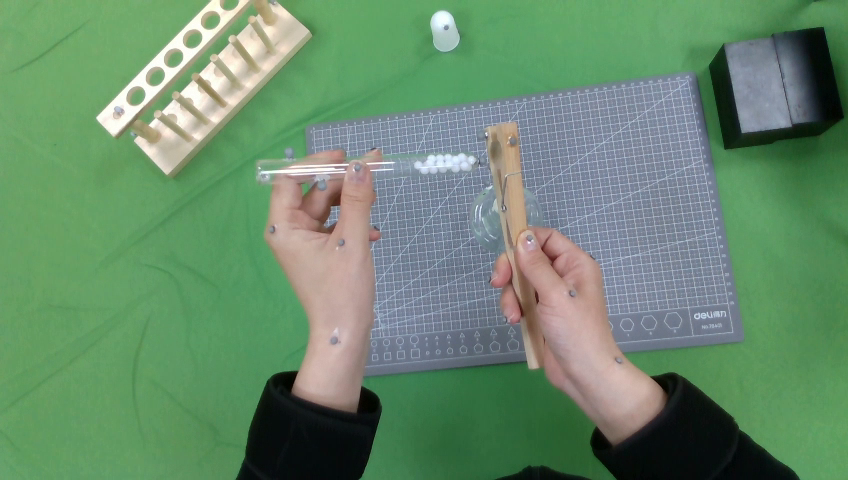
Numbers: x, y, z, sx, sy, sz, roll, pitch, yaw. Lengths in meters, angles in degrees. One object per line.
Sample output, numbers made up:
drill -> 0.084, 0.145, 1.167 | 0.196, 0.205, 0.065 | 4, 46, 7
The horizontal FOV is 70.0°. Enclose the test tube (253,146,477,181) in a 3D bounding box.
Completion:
test tube -> -0.034, -0.051, 0.396 | 0.151, 0.017, 0.017 | -6, 78, -21

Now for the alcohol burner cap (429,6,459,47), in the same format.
alcohol burner cap -> 0.022, -0.250, 0.699 | 0.034, 0.048, 0.033 | -2, 75, 9

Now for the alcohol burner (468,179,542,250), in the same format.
alcohol burner -> 0.082, -0.031, 0.618 | 0.078, 0.120, 0.077 | -2, 78, 8

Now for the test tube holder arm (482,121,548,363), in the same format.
test tube holder arm -> 0.067, 0.002, 0.441 | 0.015, 0.013, 0.178 | -12, 94, -24

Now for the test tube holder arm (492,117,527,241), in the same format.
test tube holder arm -> 0.062, -0.043, 0.431 | 0.015, 0.010, 0.088 | -13, 102, -24

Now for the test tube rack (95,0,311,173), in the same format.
test tube rack -> -0.250, -0.196, 0.701 | 0.066, 0.085, 0.242 | 43, 88, 12
